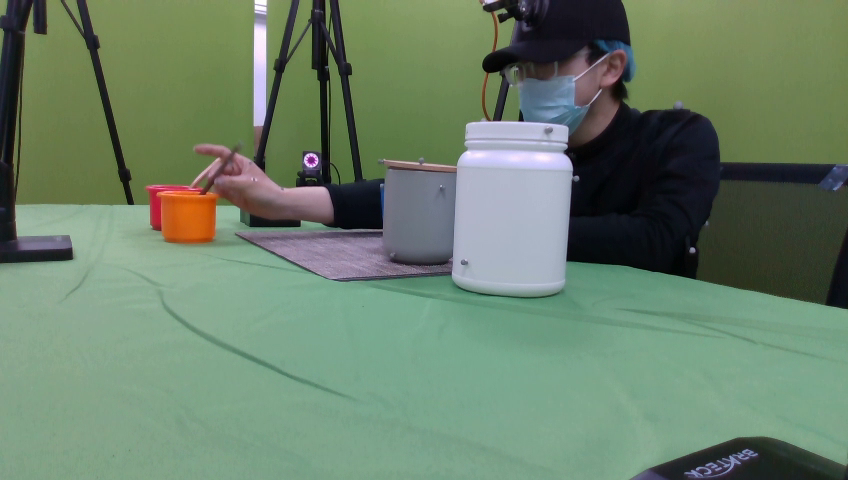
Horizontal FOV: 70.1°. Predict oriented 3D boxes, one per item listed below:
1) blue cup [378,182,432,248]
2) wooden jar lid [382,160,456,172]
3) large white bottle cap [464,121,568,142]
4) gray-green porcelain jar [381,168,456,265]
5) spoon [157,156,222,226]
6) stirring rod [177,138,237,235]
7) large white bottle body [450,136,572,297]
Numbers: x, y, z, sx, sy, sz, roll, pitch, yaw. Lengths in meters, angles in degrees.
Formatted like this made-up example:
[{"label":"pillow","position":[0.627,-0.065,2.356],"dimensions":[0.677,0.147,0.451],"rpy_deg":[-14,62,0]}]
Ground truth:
[{"label":"blue cup","position":[-0.031,-0.041,0.979],"dimensions":[0.093,0.100,0.092],"rpy_deg":[1,9,0]},{"label":"wooden jar lid","position":[-0.003,-0.096,0.826],"dimensions":[0.108,0.020,0.108],"rpy_deg":[4,10,0]},{"label":"large white bottle cap","position":[0.103,-0.120,0.677],"dimensions":[0.115,0.018,0.115],"rpy_deg":[3,7,0]},{"label":"gray-green porcelain jar","position":[-0.005,-0.034,0.834],"dimensions":[0.106,0.126,0.106],"rpy_deg":[3,7,0]},{"label":"spoon","position":[-0.425,-0.094,1.117],"dimensions":[0.041,0.022,0.194],"rpy_deg":[3,50,30]},{"label":"stirring rod","position":[-0.341,-0.084,0.952],"dimensions":[0.006,0.176,0.014],"rpy_deg":[30,-2,-1]},{"label":"large white bottle body","position":[0.099,-0.037,0.688],"dimensions":[0.131,0.184,0.130],"rpy_deg":[2,7,0]}]
